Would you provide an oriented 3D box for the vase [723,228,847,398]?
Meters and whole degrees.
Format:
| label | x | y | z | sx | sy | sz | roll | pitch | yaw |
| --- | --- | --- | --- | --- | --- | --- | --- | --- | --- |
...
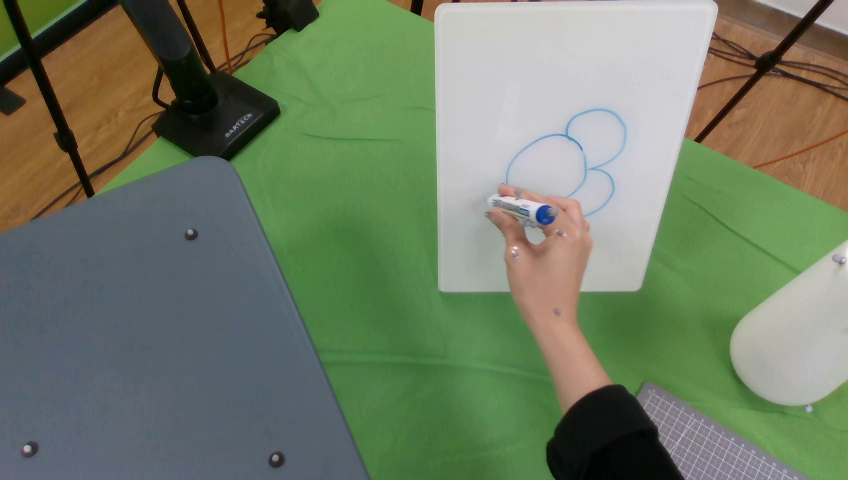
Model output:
| label | x | y | z | sx | sy | sz | roll | pitch | yaw |
| --- | --- | --- | --- | --- | --- | --- | --- | --- | --- |
| vase | 0.339 | 0.064 | 0.524 | 0.098 | 0.201 | 0.097 | -1 | 58 | 1 |

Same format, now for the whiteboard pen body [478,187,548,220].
| label | x | y | z | sx | sy | sz | roll | pitch | yaw |
| --- | --- | --- | --- | --- | --- | --- | --- | --- | --- |
| whiteboard pen body | 0.068 | -0.033 | 0.503 | 0.017 | 0.140 | 0.017 | -2 | 100 | -13 |

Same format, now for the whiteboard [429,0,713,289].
| label | x | y | z | sx | sy | sz | roll | pitch | yaw |
| --- | --- | --- | --- | --- | --- | --- | --- | --- | --- |
| whiteboard | 0.117 | -0.110 | 0.603 | 0.217 | 0.308 | 0.142 | 0 | 40 | 2 |

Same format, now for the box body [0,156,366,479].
| label | x | y | z | sx | sy | sz | roll | pitch | yaw |
| --- | --- | --- | --- | --- | --- | --- | --- | --- | --- |
| box body | -0.215 | 0.141 | 0.509 | 0.254 | 0.162 | 0.360 | -25 | 62 | -13 |

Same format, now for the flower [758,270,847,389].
| label | x | y | z | sx | sy | sz | roll | pitch | yaw |
| --- | --- | --- | --- | --- | --- | --- | --- | --- | --- |
| flower | 0.339 | 0.009 | 0.460 | 0.044 | 0.364 | 0.038 | 24 | 46 | 18 |

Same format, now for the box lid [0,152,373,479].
| label | x | y | z | sx | sy | sz | roll | pitch | yaw |
| --- | --- | --- | --- | --- | --- | --- | --- | --- | --- |
| box lid | -0.217 | 0.102 | 0.446 | 0.263 | 0.015 | 0.368 | -24 | 62 | -13 |
